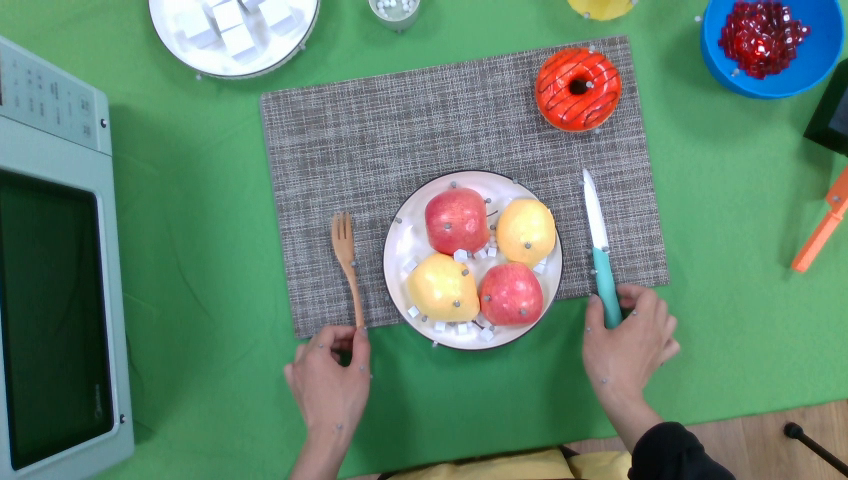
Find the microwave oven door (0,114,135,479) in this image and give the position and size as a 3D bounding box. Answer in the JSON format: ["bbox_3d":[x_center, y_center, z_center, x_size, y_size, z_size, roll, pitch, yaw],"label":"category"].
[{"bbox_3d":[-0.379,0.065,0.601,0.039,0.244,0.355,-6,87,2],"label":"microwave oven door"}]

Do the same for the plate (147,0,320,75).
[{"bbox_3d":[-0.226,-0.298,0.732,0.207,0.039,0.207,0,87,2],"label":"plate"}]

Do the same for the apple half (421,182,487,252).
[{"bbox_3d":[0.033,-0.027,0.689,0.074,0.053,0.081,-4,91,3],"label":"apple half"}]

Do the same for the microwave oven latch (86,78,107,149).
[{"bbox_3d":[-0.395,-0.147,0.713,0.030,0.029,0.079,-5,88,1],"label":"microwave oven latch"}]

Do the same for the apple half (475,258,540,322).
[{"bbox_3d":[0.088,0.057,0.684,0.081,0.033,0.081,0,91,24],"label":"apple half"}]

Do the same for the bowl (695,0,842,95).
[{"bbox_3d":[0.374,-0.230,0.688,0.151,0.077,0.151,0,88,2],"label":"bowl"}]

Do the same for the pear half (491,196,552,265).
[{"bbox_3d":[0.108,-0.007,0.690,0.070,0.031,0.088,14,91,23],"label":"pear half"}]

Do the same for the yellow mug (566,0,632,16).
[{"bbox_3d":[0.195,-0.322,0.704,0.131,0.064,0.100,2,87,3],"label":"yellow mug"}]

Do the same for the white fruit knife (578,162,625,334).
[{"bbox_3d":[0.204,0.009,0.712,0.027,0.016,0.207,-8,85,-28],"label":"white fruit knife"}]

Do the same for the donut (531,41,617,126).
[{"bbox_3d":[0.174,-0.182,0.705,0.099,0.048,0.099,0,88,4],"label":"donut"}]

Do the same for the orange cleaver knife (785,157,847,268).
[{"bbox_3d":[0.468,-0.065,0.674,0.012,0.077,0.212,28,114,8],"label":"orange cleaver knife"}]

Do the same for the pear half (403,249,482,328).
[{"bbox_3d":[0.029,0.061,0.689,0.110,0.056,0.076,42,93,1],"label":"pear half"}]

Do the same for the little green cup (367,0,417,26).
[{"bbox_3d":[-0.037,-0.288,0.725,0.061,0.038,0.061,0,87,3],"label":"little green cup"}]

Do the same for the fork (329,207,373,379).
[{"bbox_3d":[-0.084,0.063,0.718,0.028,0.018,0.207,-11,86,6],"label":"fork"}]

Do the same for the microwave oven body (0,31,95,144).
[{"bbox_3d":[-0.529,0.038,0.613,0.326,0.260,0.441,-6,88,1],"label":"microwave oven body"}]

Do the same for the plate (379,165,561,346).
[{"bbox_3d":[0.053,0.018,0.704,0.209,0.038,0.208,0,87,2],"label":"plate"}]
